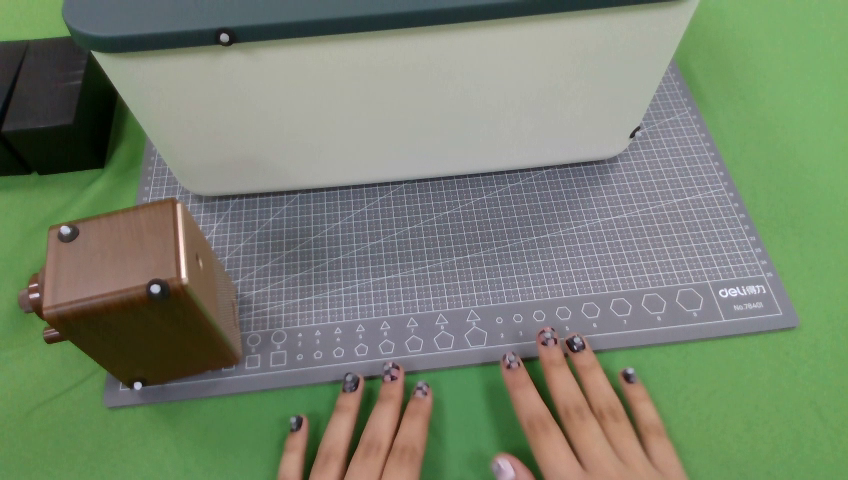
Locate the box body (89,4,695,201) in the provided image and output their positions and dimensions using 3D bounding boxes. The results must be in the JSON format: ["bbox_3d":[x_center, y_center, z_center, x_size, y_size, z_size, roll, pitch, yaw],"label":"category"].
[{"bbox_3d":[-0.023,-0.180,0.460,0.364,0.162,0.251,-6,57,-3],"label":"box body"}]

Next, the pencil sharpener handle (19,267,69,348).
[{"bbox_3d":[-0.209,0.043,0.336,0.031,0.068,0.035,-14,60,-7],"label":"pencil sharpener handle"}]

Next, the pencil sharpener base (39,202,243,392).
[{"bbox_3d":[-0.159,0.038,0.353,0.077,0.108,0.060,-14,58,-7],"label":"pencil sharpener base"}]

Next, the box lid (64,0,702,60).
[{"bbox_3d":[-0.027,-0.221,0.398,0.372,0.015,0.260,-6,57,-3],"label":"box lid"}]
